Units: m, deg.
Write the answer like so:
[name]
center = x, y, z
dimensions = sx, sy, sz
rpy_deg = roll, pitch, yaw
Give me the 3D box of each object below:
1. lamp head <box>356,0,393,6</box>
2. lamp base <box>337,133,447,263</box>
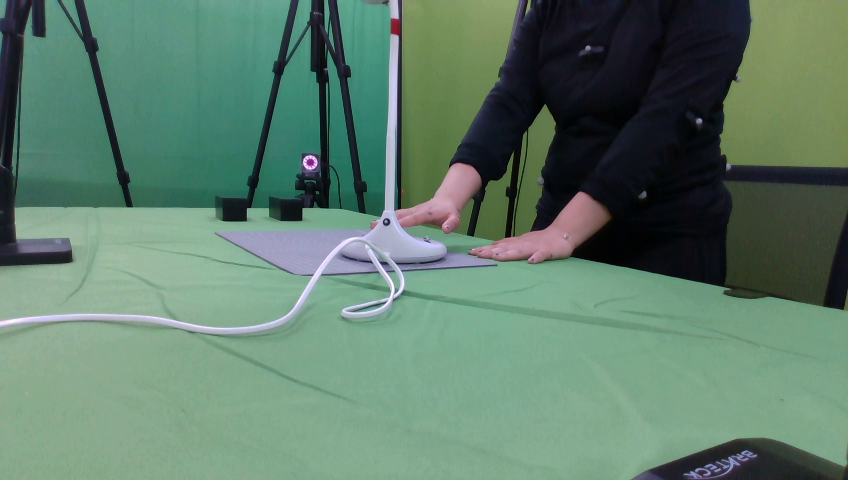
[lamp head]
center = -0.056, -0.383, 0.819
dimensions = 0.113, 0.112, 0.122
rpy_deg = 0, 12, -22
[lamp base]
center = -0.043, -0.062, 0.868
dimensions = 0.161, 0.180, 0.179
rpy_deg = 2, 10, -3
